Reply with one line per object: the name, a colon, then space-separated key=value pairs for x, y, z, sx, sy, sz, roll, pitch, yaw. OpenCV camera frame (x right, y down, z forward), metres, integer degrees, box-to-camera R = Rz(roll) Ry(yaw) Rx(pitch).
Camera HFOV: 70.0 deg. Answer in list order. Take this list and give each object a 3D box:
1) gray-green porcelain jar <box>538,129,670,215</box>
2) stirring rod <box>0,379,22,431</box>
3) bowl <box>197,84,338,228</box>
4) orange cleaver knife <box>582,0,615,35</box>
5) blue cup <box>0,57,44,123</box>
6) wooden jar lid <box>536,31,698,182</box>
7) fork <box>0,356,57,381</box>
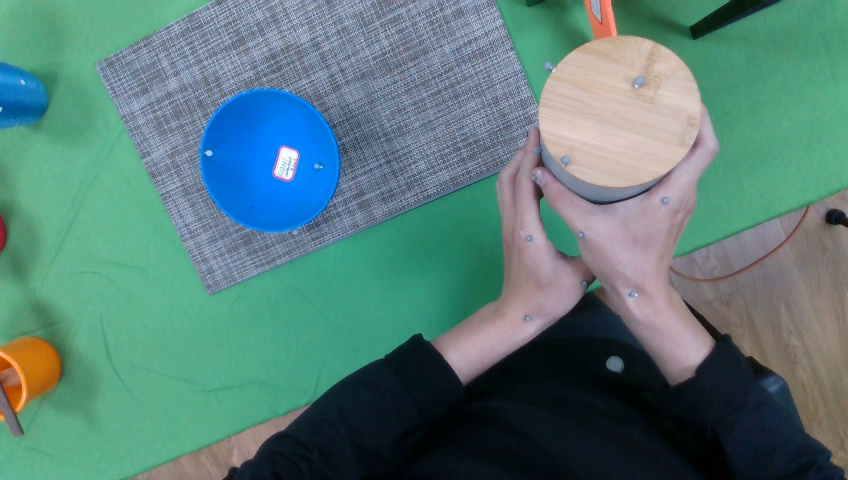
gray-green porcelain jar: x=0.145 y=-0.080 z=0.486 sx=0.105 sy=0.127 sz=0.105 roll=-2 pitch=80 yaw=11
stirring rod: x=-0.514 y=0.145 z=0.711 sx=0.014 sy=0.006 sz=0.176 roll=-18 pitch=98 yaw=5
bowl: x=-0.162 y=-0.092 z=0.671 sx=0.151 sy=0.076 sz=0.152 roll=1 pitch=100 yaw=5
orange cleaver knife: x=0.187 y=-0.202 z=0.621 sx=0.012 sy=0.076 sz=0.213 roll=-27 pitch=126 yaw=6
blue cup: x=-0.487 y=-0.169 z=0.679 sx=0.092 sy=0.100 sz=0.093 roll=0 pitch=100 yaw=3
wooden jar lid: x=0.133 y=-0.092 z=0.426 sx=0.108 sy=0.021 sz=0.108 roll=-2 pitch=83 yaw=11
fork: x=-0.558 y=0.172 z=0.721 sx=0.208 sy=0.018 sz=0.028 roll=-11 pitch=111 yaw=-37
